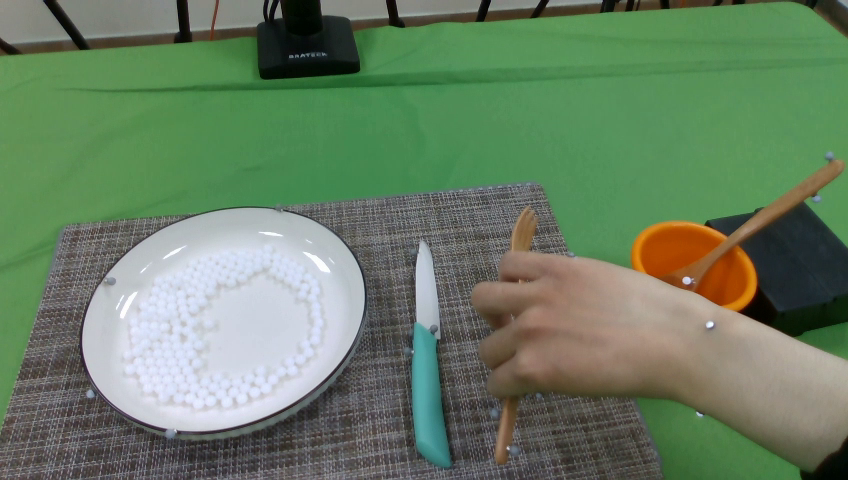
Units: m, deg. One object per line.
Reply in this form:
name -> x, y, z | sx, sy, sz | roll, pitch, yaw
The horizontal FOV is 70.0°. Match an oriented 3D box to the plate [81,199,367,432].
plate -> -0.147, 0.053, 0.470 | 0.209, 0.038, 0.207 | 2, 49, -1

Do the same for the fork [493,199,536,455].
fork -> 0.067, 0.055, 0.448 | 0.018, 0.028, 0.205 | -11, 51, 28

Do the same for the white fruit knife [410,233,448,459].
white fruit knife -> 0.001, 0.070, 0.479 | 0.027, 0.016, 0.205 | 21, 42, -24

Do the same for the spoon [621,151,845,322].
spoon -> 0.235, -0.001, 0.468 | 0.022, 0.194, 0.041 | 25, 30, -43
